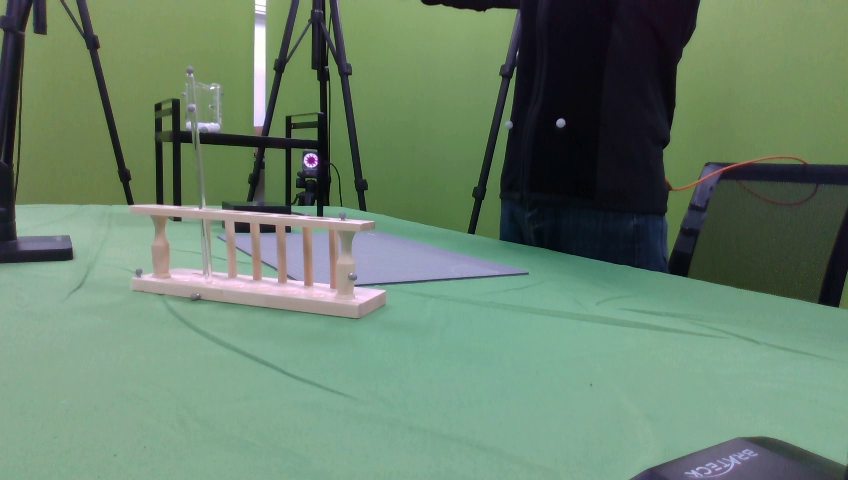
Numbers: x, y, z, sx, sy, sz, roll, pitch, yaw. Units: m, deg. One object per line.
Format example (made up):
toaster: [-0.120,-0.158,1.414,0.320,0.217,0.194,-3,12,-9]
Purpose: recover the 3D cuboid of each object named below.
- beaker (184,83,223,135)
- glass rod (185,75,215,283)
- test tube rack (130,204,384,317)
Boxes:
beaker: [-0.456,-0.271,1.256,0.074,0.100,0.083,-3,10,-33]
glass rod: [-0.210,-0.052,0.568,0.008,0.199,0.008,-1,14,1]
test tube rack: [-0.162,0.013,0.589,0.242,0.085,0.067,4,8,17]
